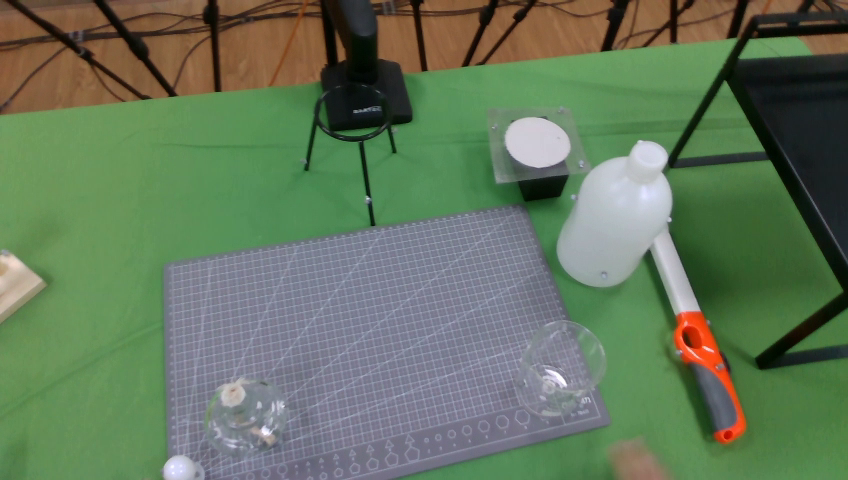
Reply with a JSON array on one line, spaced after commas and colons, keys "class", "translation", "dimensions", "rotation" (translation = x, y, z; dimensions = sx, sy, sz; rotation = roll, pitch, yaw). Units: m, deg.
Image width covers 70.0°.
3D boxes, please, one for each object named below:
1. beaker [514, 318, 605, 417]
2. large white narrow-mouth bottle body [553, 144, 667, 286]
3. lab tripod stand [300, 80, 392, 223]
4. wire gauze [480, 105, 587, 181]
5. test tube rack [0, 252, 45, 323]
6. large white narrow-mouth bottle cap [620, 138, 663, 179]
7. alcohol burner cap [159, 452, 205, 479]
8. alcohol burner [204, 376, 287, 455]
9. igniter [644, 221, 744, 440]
[{"class": "beaker", "translation": [0.131, 0.135, 0.620], "dimensions": [0.084, 0.101, 0.073], "rotation": [-5, 58, -6]}, {"class": "large white narrow-mouth bottle body", "translation": [0.213, -0.034, 0.679], "dimensions": [0.102, 0.196, 0.101], "rotation": [2, 57, -2]}, {"class": "lab tripod stand", "translation": [-0.087, -0.113, 0.744], "dimensions": [0.148, 0.132, 0.147], "rotation": [3, 58, -4]}, {"class": "wire gauze", "translation": [0.139, -0.130, 0.786], "dimensions": [0.121, 0.011, 0.124], "rotation": [-4, 58, -6]}, {"class": "test tube rack", "translation": [-0.528, 0.094, 0.611], "dimensions": [0.066, 0.086, 0.241], "rotation": [33, 61, 16]}, {"class": "large white narrow-mouth bottle cap", "translation": [0.217, -0.082, 0.607], "dimensions": [0.038, 0.024, 0.037], "rotation": [2, 58, -2]}, {"class": "alcohol burner cap", "translation": [-0.232, 0.219, 0.576], "dimensions": [0.034, 0.048, 0.033], "rotation": [0, 59, 0]}, {"class": "alcohol burner", "translation": [-0.172, 0.161, 0.575], "dimensions": [0.078, 0.120, 0.077], "rotation": [3, 56, -4]}, {"class": "igniter", "translation": [0.305, 0.093, 0.705], "dimensions": [0.057, 0.025, 0.273], "rotation": [1, 57, -16]}]
